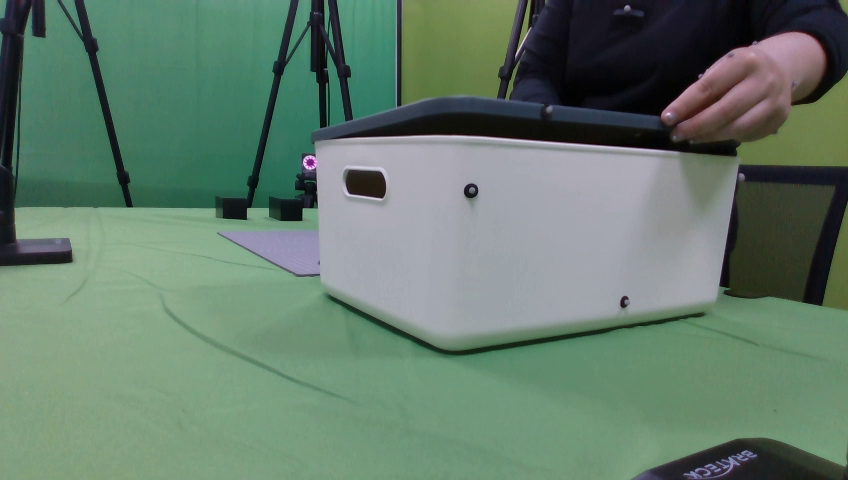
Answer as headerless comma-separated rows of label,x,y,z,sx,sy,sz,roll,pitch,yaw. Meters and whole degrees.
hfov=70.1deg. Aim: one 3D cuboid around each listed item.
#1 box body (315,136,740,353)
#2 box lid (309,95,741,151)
box body,0.098,-0.012,0.606,0.366,0.160,0.253,-2,8,-33
box lid,0.097,-0.100,0.599,0.373,0.015,0.262,-2,3,-33
